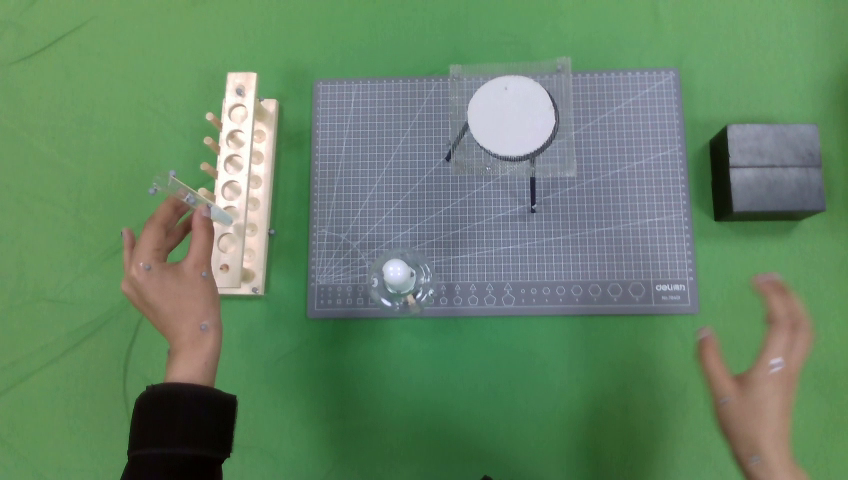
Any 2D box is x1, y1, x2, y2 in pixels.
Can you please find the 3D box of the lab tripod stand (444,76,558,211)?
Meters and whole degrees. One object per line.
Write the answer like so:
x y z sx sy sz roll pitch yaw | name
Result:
0.093 -0.114 0.666 0.148 0.132 0.147 -1 78 4 | lab tripod stand

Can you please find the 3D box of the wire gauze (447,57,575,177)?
0.086 -0.122 0.600 0.125 0.011 0.121 0 80 3 | wire gauze

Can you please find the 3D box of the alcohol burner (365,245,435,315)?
-0.027 0.041 0.654 0.078 0.119 0.077 0 79 2 | alcohol burner

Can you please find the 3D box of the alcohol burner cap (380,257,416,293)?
-0.028 0.034 0.619 0.034 0.048 0.033 -2 76 8 | alcohol burner cap

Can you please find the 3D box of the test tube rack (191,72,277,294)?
-0.222 -0.063 0.699 0.067 0.085 0.241 1 80 3 | test tube rack

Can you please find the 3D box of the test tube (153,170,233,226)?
-0.210 -0.035 0.564 0.017 0.151 0.017 0 79 2 | test tube
